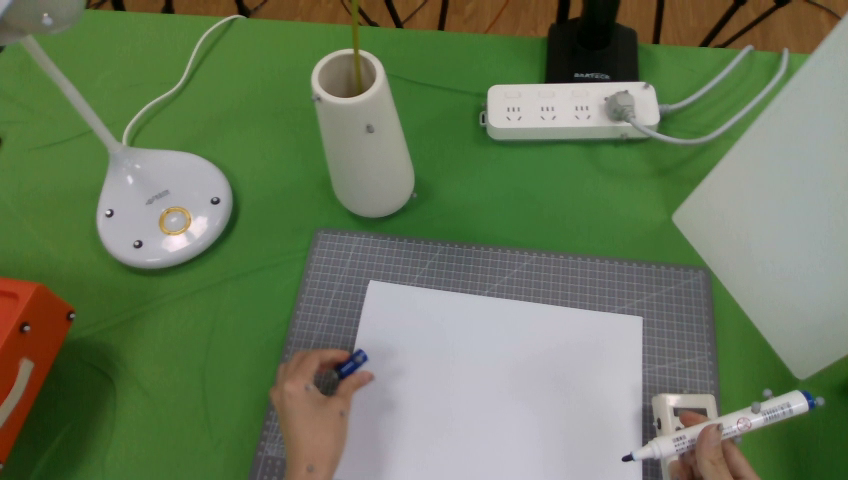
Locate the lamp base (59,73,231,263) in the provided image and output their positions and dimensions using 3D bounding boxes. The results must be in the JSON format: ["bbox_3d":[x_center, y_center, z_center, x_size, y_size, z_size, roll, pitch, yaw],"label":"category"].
[{"bbox_3d":[-0.326,-0.088,0.667,0.178,0.182,0.160,37,69,23],"label":"lamp base"}]

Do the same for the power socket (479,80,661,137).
[{"bbox_3d":[0.183,-0.165,0.764,0.227,0.033,0.071,1,63,3],"label":"power socket"}]

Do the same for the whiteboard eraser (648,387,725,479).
[{"bbox_3d":[0.244,0.195,0.563,0.055,0.042,0.112,1,62,2],"label":"whiteboard eraser"}]

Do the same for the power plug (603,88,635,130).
[{"bbox_3d":[0.232,-0.150,0.727,0.035,0.053,0.072,10,65,9],"label":"power plug"}]

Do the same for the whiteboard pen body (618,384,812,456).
[{"bbox_3d":[0.206,0.131,0.433,0.141,0.017,0.017,-19,62,2],"label":"whiteboard pen body"}]

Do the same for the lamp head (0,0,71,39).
[{"bbox_3d":[-0.294,-0.214,0.404,0.124,0.112,0.112,45,68,-18],"label":"lamp head"}]

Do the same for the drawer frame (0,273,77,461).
[{"bbox_3d":[-0.486,0.122,0.573,0.213,0.083,0.200,9,64,6],"label":"drawer frame"}]

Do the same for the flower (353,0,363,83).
[{"bbox_3d":[-0.063,-0.166,0.590,0.038,0.365,0.043,-5,44,-7],"label":"flower"}]

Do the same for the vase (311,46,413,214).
[{"bbox_3d":[-0.067,-0.112,0.655,0.098,0.201,0.097,-2,61,4],"label":"vase"}]

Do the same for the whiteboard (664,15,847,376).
[{"bbox_3d":[0.422,-0.047,0.569,0.144,0.307,0.215,-14,60,-25],"label":"whiteboard"}]

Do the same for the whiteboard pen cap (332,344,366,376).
[{"bbox_3d":[-0.074,0.118,0.600,0.018,0.018,0.033,37,56,21],"label":"whiteboard pen cap"}]

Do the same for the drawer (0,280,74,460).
[{"bbox_3d":[-0.480,0.121,0.571,0.211,0.074,0.193,9,64,7],"label":"drawer"}]
